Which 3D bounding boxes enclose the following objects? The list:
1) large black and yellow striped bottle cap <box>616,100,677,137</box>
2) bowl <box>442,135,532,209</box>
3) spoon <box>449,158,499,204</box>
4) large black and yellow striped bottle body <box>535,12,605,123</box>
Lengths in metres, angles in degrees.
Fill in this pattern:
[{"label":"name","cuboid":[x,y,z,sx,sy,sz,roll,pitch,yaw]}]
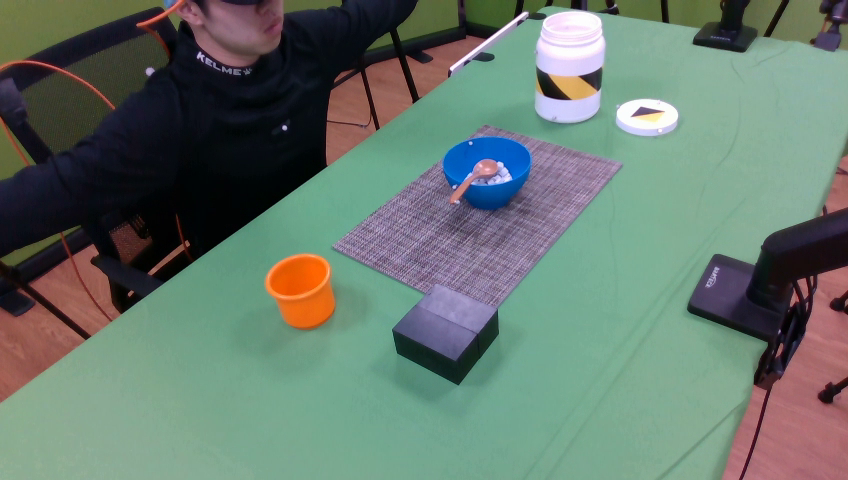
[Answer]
[{"label":"large black and yellow striped bottle cap","cuboid":[0.438,-0.241,1.190,0.115,0.019,0.114,-4,42,4]},{"label":"bowl","cuboid":[0.108,-0.106,1.026,0.151,0.077,0.150,-4,41,4]},{"label":"spoon","cuboid":[0.076,-0.096,0.967,0.041,0.021,0.194,14,27,20]},{"label":"large black and yellow striped bottle body","cuboid":[0.287,-0.341,1.197,0.131,0.185,0.130,-4,41,4]}]
